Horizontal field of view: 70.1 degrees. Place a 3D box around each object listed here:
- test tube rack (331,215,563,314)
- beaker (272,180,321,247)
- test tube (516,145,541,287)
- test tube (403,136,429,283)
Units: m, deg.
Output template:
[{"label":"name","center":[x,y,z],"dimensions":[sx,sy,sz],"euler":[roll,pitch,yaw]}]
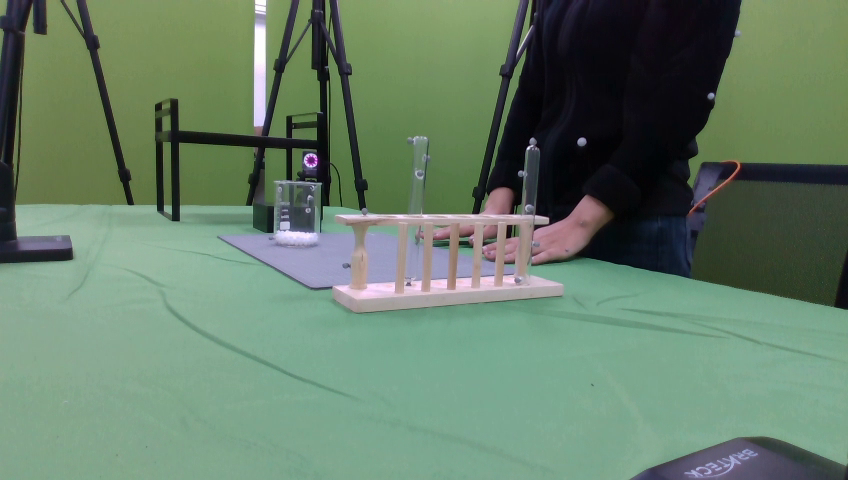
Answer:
[{"label":"test tube rack","center":[0.031,0.019,0.626],"dimensions":[0.243,0.085,0.066],"euler":[-1,8,-28]},{"label":"beaker","center":[-0.197,-0.042,0.944],"dimensions":[0.073,0.100,0.084],"euler":[7,8,29]},{"label":"test tube","center":[0.110,-0.024,0.638],"dimensions":[0.017,0.150,0.017],"euler":[4,6,0]},{"label":"test tube","center":[-0.009,-0.031,0.617],"dimensions":[0.017,0.150,0.017],"euler":[5,2,0]}]
